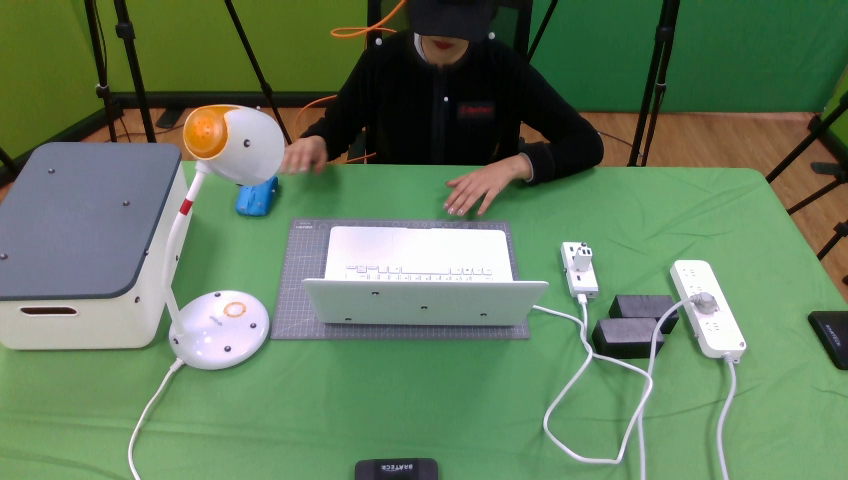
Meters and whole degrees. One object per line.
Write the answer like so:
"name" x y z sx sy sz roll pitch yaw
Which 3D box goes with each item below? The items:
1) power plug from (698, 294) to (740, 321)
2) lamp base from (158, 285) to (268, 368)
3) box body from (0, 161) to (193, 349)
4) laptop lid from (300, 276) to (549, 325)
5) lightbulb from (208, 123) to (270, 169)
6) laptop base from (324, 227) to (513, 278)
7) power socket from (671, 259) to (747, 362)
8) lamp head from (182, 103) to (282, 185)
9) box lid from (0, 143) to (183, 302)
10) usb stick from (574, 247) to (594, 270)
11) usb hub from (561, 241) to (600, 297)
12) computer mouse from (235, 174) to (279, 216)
"power plug" 0.515 0.127 1.070 0.035 0.053 0.072 -18 56 -7
"lamp base" -0.348 0.102 0.963 0.160 0.181 0.178 23 51 18
"box body" -0.570 0.006 1.054 0.254 0.161 0.361 -1 46 -4
"laptop lid" -0.002 0.100 0.947 0.357 0.242 0.013 1 67 -4
"lightbulb" -0.260 -0.136 0.848 0.059 0.108 0.059 -4 77 21
"laptop base" -0.009 0.063 1.137 0.354 0.023 0.234 1 42 -3
"power socket" 0.516 0.119 1.108 0.072 0.033 0.225 0 46 -2
"lamp head" -0.271 -0.133 0.825 0.112 0.112 0.123 20 8 15
"box lid" -0.567 -0.045 0.999 0.263 0.015 0.369 -1 46 -4
"usb stick" 0.298 0.040 1.135 0.027 0.059 0.021 2 46 -4
"usb hub" 0.300 0.055 1.162 0.049 0.025 0.124 2 46 -3
"computer mouse" -0.346 -0.098 1.258 0.063 0.041 0.116 8 50 2
